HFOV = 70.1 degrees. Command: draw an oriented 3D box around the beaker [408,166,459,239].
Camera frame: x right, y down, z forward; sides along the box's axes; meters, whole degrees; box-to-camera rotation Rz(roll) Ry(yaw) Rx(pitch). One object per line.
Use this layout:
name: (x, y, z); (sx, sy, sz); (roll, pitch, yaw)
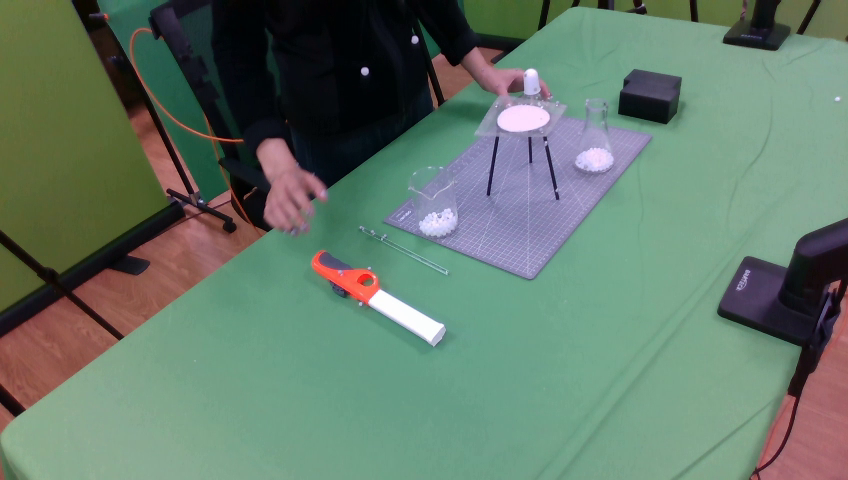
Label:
beaker: (0.018, -0.057, 0.984); (0.074, 0.101, 0.083); (-6, 41, 5)

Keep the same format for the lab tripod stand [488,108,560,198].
lab tripod stand: (0.173, -0.150, 1.037); (0.148, 0.132, 0.147); (-7, 38, 6)

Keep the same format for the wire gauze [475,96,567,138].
wire gauze: (0.161, -0.201, 0.994); (0.121, 0.011, 0.125); (11, 43, 23)

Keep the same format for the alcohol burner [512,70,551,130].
alcohol burner: (0.214, -0.281, 1.199); (0.078, 0.119, 0.077); (-4, 39, 4)

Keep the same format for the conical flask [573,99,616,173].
conical flask: (0.301, -0.184, 1.061); (0.075, 0.122, 0.075); (-5, 40, 5)

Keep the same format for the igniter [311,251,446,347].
igniter: (-0.078, 0.081, 0.899); (0.274, 0.025, 0.057); (27, 62, 35)

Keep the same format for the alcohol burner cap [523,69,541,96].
alcohol burner cap: (0.209, -0.308, 1.175); (0.034, 0.048, 0.033); (-9, 41, 9)

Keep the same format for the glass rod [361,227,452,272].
glass rod: (-0.033, 0.013, 0.985); (0.198, 0.008, 0.008); (24, 51, 34)
